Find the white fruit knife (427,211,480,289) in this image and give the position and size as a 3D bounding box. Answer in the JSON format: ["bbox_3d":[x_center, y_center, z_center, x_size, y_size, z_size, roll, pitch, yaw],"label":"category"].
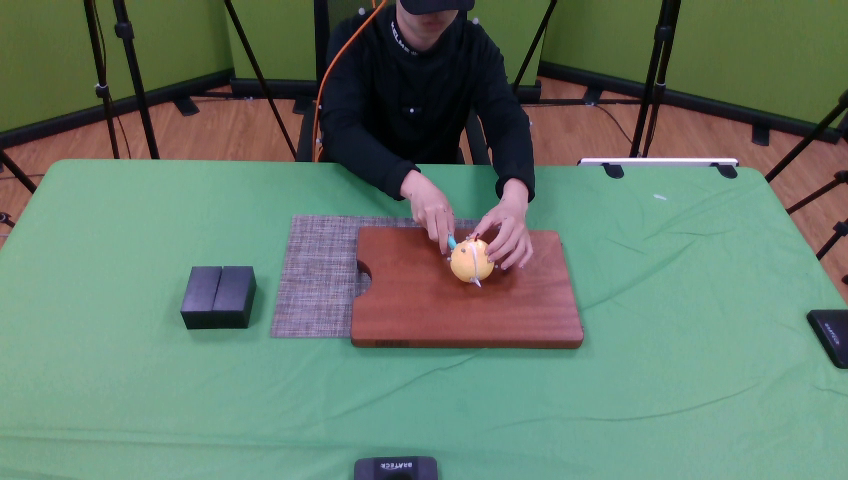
[{"bbox_3d":[0.055,0.015,1.120,0.016,0.027,0.206,-18,52,-18],"label":"white fruit knife"}]

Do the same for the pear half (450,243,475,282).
[{"bbox_3d":[0.064,0.042,1.080,0.031,0.088,0.070,-26,56,-19],"label":"pear half"}]

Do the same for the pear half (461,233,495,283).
[{"bbox_3d":[0.099,0.024,1.086,0.056,0.110,0.076,-22,55,-23],"label":"pear half"}]
